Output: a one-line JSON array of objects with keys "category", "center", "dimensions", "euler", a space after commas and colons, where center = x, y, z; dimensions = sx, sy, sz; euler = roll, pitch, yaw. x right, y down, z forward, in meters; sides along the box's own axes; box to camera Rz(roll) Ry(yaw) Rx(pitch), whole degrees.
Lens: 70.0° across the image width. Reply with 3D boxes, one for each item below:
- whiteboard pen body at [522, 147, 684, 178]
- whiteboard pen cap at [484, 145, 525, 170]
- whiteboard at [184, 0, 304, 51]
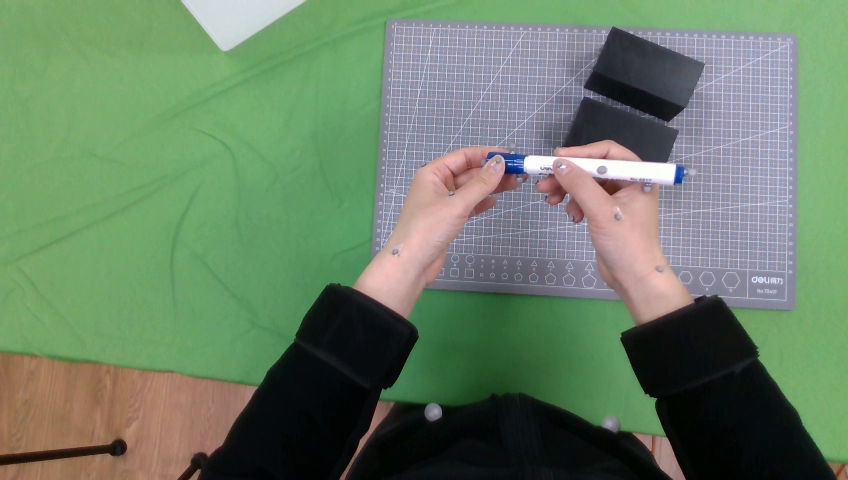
[{"category": "whiteboard pen body", "center": [0.123, -0.061, 0.462], "dimensions": [0.140, 0.017, 0.017], "euler": [7, 85, 20]}, {"category": "whiteboard pen cap", "center": [0.066, -0.066, 0.483], "dimensions": [0.033, 0.018, 0.018], "euler": [10, 85, 23]}, {"category": "whiteboard", "center": [-0.204, -0.382, 0.578], "dimensions": [0.217, 0.308, 0.142], "euler": [-32, 64, 0]}]
